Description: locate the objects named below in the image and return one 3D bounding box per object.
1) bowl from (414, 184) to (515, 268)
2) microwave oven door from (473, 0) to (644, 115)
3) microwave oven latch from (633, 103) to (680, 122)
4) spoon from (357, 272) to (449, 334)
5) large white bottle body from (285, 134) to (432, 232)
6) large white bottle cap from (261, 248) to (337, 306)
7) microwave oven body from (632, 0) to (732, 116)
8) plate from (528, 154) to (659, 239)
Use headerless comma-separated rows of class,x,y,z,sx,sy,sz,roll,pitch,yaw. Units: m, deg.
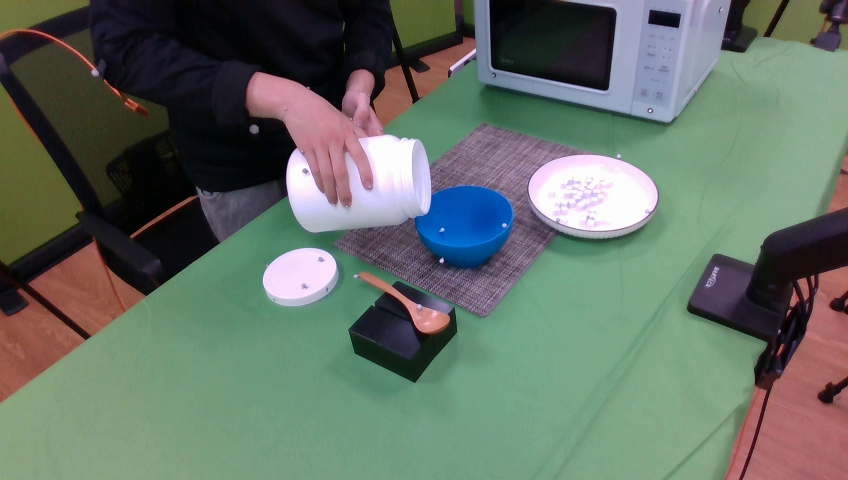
bowl,0.063,-0.010,0.922,0.151,0.077,0.150,-4,40,4
microwave oven door,0.257,-0.396,1.199,0.353,0.245,0.039,21,48,29
microwave oven latch,0.443,-0.249,1.157,0.078,0.029,0.030,20,48,29
spoon,-0.034,0.078,0.812,0.042,0.022,0.192,-34,42,-24
large white bottle body,-0.091,-0.083,0.876,0.184,0.131,0.130,-5,40,14
large white bottle cap,-0.193,0.056,0.934,0.115,0.018,0.114,-4,41,4
microwave oven body,0.377,-0.462,1.267,0.438,0.261,0.327,21,49,30
plate,0.274,-0.069,0.993,0.209,0.038,0.208,-2,42,2
